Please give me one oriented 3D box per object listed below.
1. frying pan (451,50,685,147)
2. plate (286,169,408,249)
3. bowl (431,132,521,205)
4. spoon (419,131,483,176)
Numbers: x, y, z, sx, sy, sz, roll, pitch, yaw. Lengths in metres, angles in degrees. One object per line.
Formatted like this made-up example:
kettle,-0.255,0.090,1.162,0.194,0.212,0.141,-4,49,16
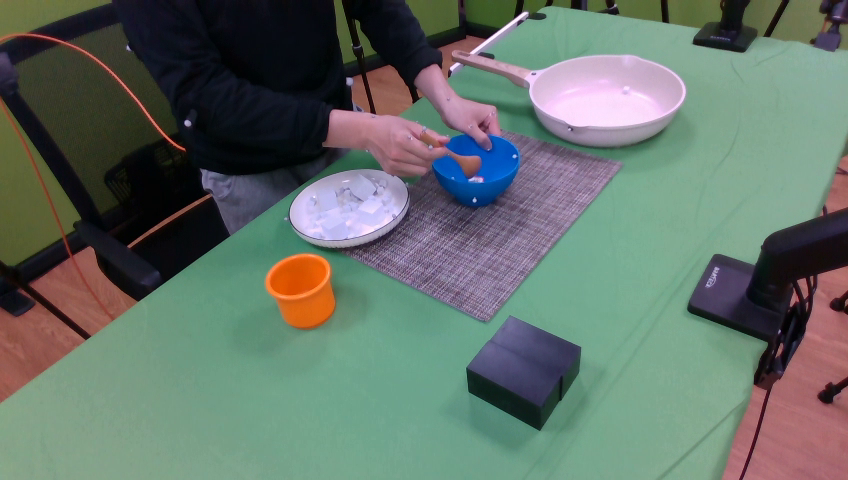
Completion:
frying pan,0.269,-0.316,1.233,0.485,0.103,0.307,26,49,21
plate,-0.127,-0.050,1.028,0.207,0.039,0.206,-5,39,5
bowl,0.089,-0.112,1.031,0.151,0.077,0.150,-2,42,2
spoon,0.042,-0.132,0.915,0.021,0.041,0.195,35,11,33
